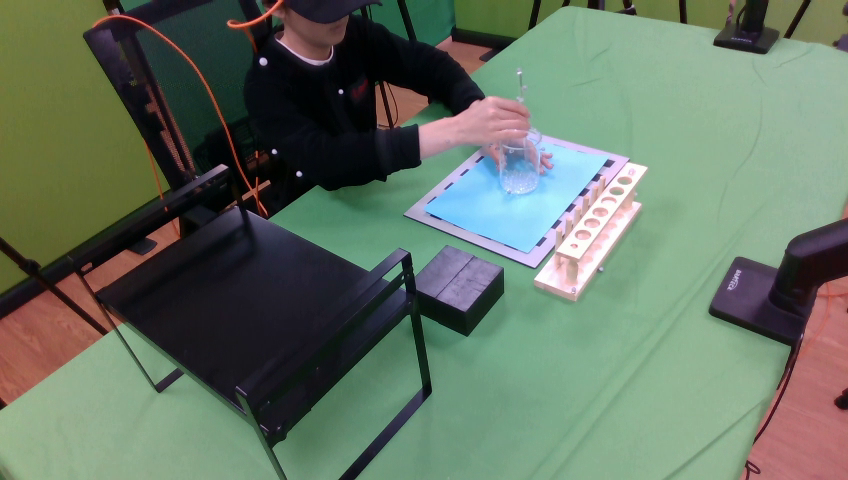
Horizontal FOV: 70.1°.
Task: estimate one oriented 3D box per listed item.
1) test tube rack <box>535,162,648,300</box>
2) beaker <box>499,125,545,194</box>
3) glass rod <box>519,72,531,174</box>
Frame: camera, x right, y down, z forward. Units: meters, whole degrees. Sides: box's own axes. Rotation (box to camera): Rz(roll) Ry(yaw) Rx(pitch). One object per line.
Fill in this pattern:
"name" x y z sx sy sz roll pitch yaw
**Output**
"test tube rack" 0.257 -0.024 0.916 0.066 0.085 0.243 22 49 30
"beaker" 0.168 -0.138 1.046 0.074 0.101 0.083 -8 41 -1
"glass rod" 0.171 -0.192 1.016 0.008 0.201 0.008 -8 42 8
